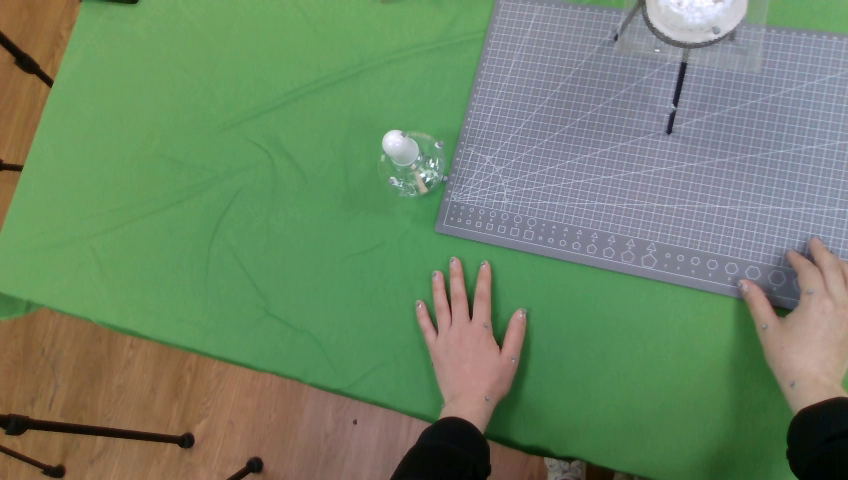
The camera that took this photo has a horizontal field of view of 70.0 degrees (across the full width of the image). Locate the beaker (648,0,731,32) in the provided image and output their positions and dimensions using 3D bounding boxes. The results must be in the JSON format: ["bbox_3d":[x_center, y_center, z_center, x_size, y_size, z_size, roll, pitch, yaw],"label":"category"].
[{"bbox_3d":[0.224,-0.227,0.501,0.083,0.101,0.074,26,86,17],"label":"beaker"}]

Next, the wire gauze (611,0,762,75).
[{"bbox_3d":[0.240,-0.216,0.546,0.124,0.011,0.121,12,85,13],"label":"wire gauze"}]

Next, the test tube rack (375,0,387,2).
[{"bbox_3d":[0.044,-0.354,0.716,0.242,0.086,0.066,-5,78,12],"label":"test tube rack"}]

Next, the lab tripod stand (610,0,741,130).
[{"bbox_3d":[0.255,-0.202,0.608,0.148,0.132,0.148,-2,80,12],"label":"lab tripod stand"}]

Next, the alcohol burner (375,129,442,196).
[{"bbox_3d":[-0.021,-0.091,0.665,0.078,0.120,0.077,-3,77,12],"label":"alcohol burner"}]

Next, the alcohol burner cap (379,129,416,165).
[{"bbox_3d":[-0.030,-0.099,0.631,0.034,0.048,0.033,-2,82,13],"label":"alcohol burner cap"}]
